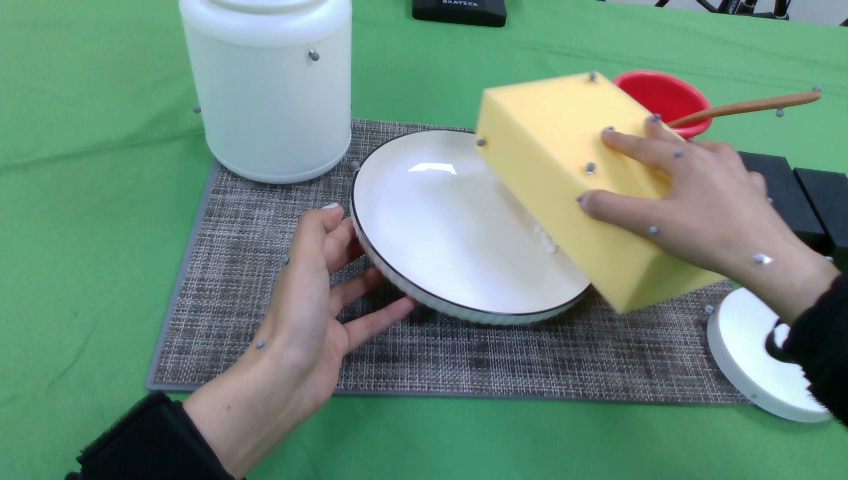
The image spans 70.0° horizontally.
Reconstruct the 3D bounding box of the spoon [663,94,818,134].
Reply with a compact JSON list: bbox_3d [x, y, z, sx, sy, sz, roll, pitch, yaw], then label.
[{"bbox_3d":[0.249,-0.106,0.556,0.041,0.193,0.022,-47,114,-38],"label":"spoon"}]

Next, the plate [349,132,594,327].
[{"bbox_3d":[0.041,-0.010,0.495,0.210,0.038,0.207,10,45,-10],"label":"plate"}]

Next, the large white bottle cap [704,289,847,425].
[{"bbox_3d":[0.279,0.088,0.474,0.115,0.018,0.113,7,48,-7],"label":"large white bottle cap"}]

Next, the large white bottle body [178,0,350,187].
[{"bbox_3d":[-0.127,-0.152,0.506,0.131,0.186,0.129,4,48,-4],"label":"large white bottle body"}]

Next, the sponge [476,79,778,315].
[{"bbox_3d":[0.146,-0.046,0.477,0.118,0.061,0.204,-15,47,-24],"label":"sponge"}]
